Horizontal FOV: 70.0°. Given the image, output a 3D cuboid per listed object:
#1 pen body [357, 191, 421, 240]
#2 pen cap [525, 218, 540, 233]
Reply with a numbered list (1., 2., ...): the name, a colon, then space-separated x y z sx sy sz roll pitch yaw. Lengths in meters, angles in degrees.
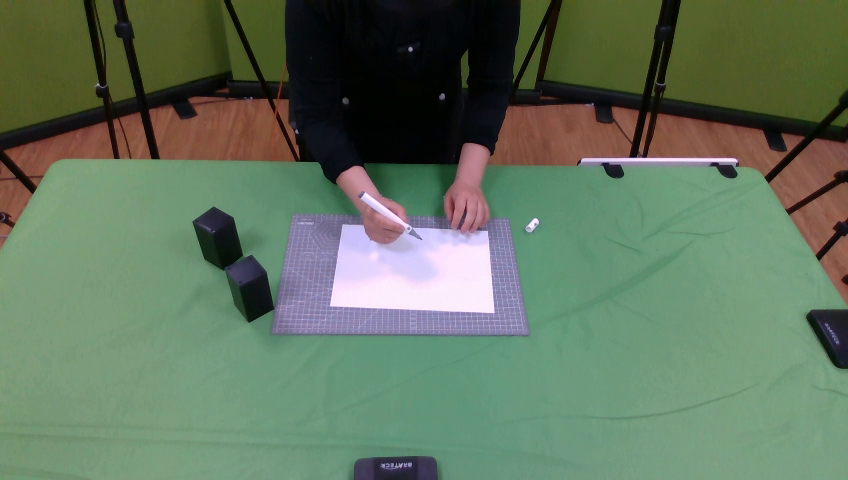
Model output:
1. pen body: -0.062 -0.042 1.106 0.144 0.017 0.017 37 45 -16
2. pen cap: 0.224 -0.031 1.248 0.017 0.017 0.038 30 51 23
